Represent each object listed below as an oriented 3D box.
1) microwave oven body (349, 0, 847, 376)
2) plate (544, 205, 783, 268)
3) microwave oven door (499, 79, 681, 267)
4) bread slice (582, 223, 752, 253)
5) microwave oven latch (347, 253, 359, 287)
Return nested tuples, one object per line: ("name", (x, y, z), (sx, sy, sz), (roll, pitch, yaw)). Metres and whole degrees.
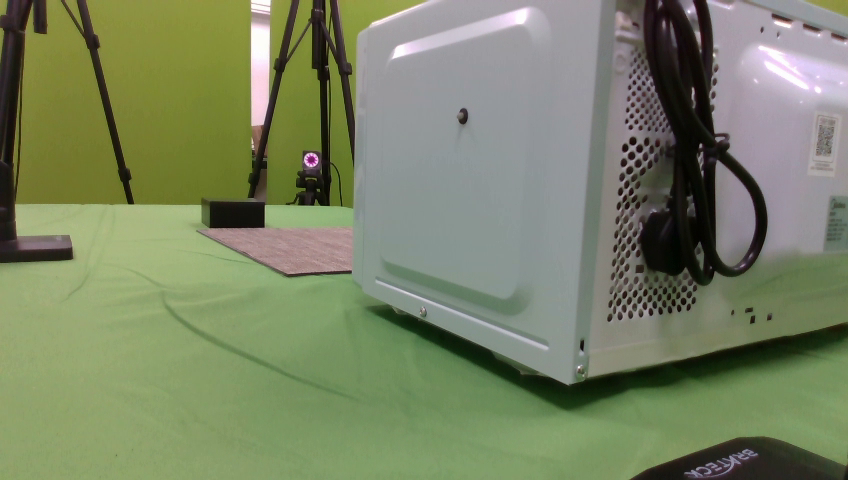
("microwave oven body", (0.199, -0.053, 0.540), (0.444, 0.260, 0.324), (-1, 7, -32))
("plate", (0.216, -0.005, 0.568), (0.209, 0.038, 0.209), (4, 7, 0))
("microwave oven door", (0.231, -0.105, 0.924), (0.039, 0.243, 0.354), (-1, 8, -26))
("bread slice", (0.218, -0.003, 0.565), (0.132, 0.019, 0.104), (1, 6, -26))
("microwave oven latch", (-0.034, 0.028, 0.581), (0.079, 0.029, 0.030), (-1, 7, -32))
